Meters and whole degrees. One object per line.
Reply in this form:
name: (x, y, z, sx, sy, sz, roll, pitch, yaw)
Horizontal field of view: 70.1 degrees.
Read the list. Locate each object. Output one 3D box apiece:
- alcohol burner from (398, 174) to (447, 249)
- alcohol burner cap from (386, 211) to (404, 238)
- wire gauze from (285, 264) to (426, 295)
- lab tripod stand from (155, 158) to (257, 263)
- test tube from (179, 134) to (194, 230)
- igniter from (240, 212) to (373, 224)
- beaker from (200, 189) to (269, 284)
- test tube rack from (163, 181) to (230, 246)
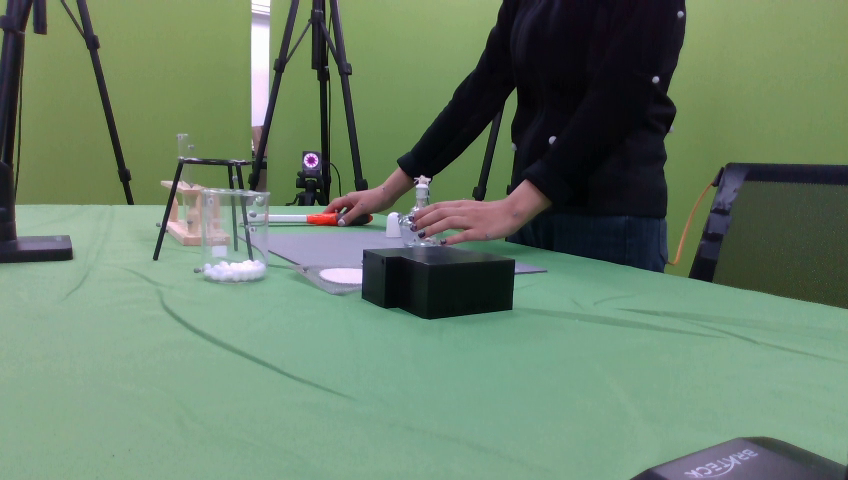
alcohol burner: (-0.002, -0.046, 0.973, 0.078, 0.119, 0.078, 0, 7, 0)
alcohol burner cap: (-0.053, -0.029, 1.107, 0.034, 0.048, 0.034, 2, 9, 0)
wire gauze: (-0.079, 0.039, 0.692, 0.122, 0.011, 0.124, -4, 11, -37)
lab tripod stand: (-0.275, -0.041, 0.797, 0.148, 0.131, 0.148, 2, 9, 0)
test tube: (-0.366, -0.089, 0.938, 0.017, 0.150, 0.017, -1, 9, 1)
igniter: (-0.236, -0.045, 1.249, 0.278, 0.025, 0.057, -2, -2, -30)
beaker: (-0.209, -0.006, 0.676, 0.073, 0.100, 0.084, 7, 8, 28)
test tube rack: (-0.387, -0.050, 1.015, 0.067, 0.085, 0.241, -2, 9, -30)
